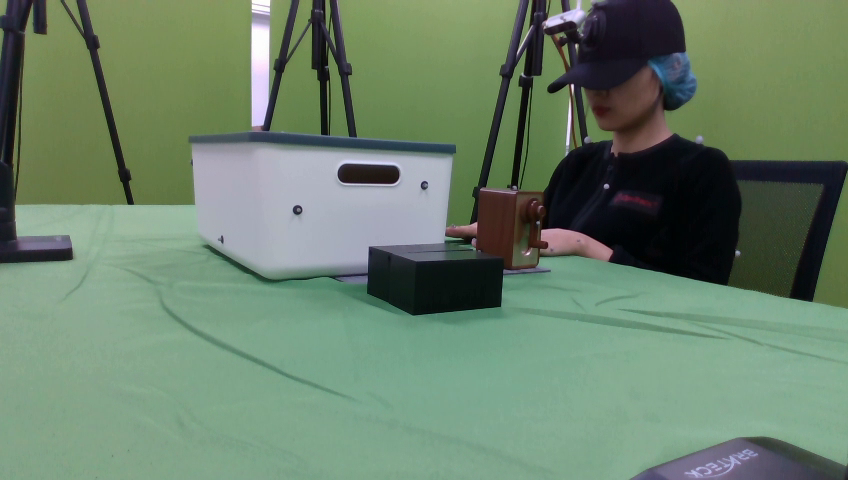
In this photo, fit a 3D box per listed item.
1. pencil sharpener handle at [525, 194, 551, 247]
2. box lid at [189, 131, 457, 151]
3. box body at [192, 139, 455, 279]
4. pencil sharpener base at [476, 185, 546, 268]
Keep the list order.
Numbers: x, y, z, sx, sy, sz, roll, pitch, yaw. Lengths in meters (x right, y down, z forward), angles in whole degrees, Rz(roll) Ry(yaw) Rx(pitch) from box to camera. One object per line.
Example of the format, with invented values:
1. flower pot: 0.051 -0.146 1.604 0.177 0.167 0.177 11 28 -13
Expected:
1. pencil sharpener handle: 0.153 -0.025 0.785 0.036 0.067 0.030 0 8 -41
2. box lid: -0.153 -0.131 0.826 0.265 0.015 0.369 -3 9 -32
3. box body: -0.157 -0.058 0.838 0.255 0.160 0.362 -2 8 -32
4. pencil sharpener base: 0.120 -0.019 0.825 0.062 0.107 0.076 -3 10 -40
